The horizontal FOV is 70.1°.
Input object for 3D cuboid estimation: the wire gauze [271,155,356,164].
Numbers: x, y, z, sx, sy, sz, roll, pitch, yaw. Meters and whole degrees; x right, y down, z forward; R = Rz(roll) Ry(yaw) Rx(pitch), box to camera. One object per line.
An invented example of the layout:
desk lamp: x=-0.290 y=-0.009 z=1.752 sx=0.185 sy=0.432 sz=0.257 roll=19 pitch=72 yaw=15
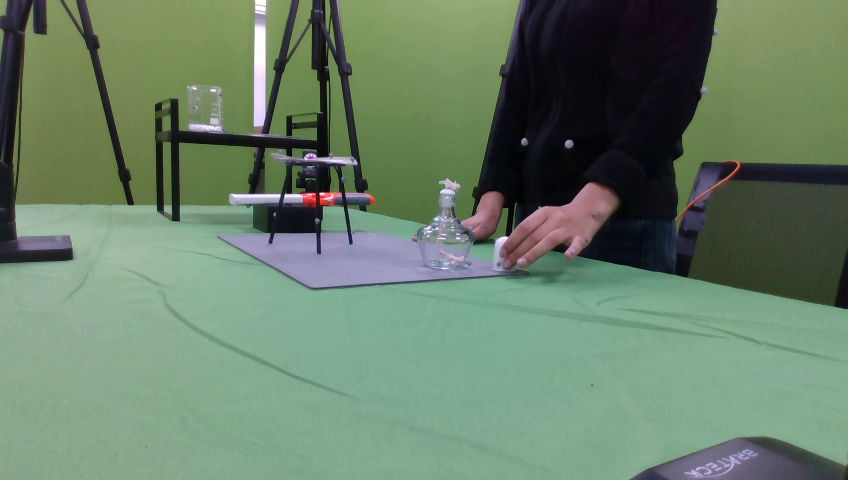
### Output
wire gauze: x=-0.167 y=-0.122 z=0.917 sx=0.125 sy=0.011 sz=0.121 roll=0 pitch=7 yaw=-9

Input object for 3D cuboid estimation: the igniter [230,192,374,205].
igniter: x=-0.228 y=-0.079 z=1.164 sx=0.278 sy=0.025 sz=0.057 roll=-2 pitch=15 yaw=-30

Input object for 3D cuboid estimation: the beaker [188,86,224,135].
beaker: x=-0.474 y=-0.280 z=1.311 sx=0.074 sy=0.100 sz=0.084 roll=5 pitch=8 yaw=26

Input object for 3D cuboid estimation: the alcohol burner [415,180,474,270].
alcohol burner: x=0.029 y=-0.020 z=0.798 sx=0.078 sy=0.119 sz=0.078 roll=4 pitch=6 yaw=0

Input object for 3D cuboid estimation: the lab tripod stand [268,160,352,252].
lab tripod stand: x=-0.171 y=-0.055 z=0.921 sx=0.148 sy=0.131 sz=0.148 roll=1 pitch=8 yaw=0

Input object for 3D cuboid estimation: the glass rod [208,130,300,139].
glass rod: x=-0.367 y=-0.231 z=1.321 sx=0.201 sy=0.008 sz=0.008 roll=-1 pitch=8 yaw=-30

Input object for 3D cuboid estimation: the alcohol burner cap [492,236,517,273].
alcohol burner cap: x=0.106 y=0.019 z=0.794 sx=0.034 sy=0.048 sz=0.034 roll=0 pitch=7 yaw=0
